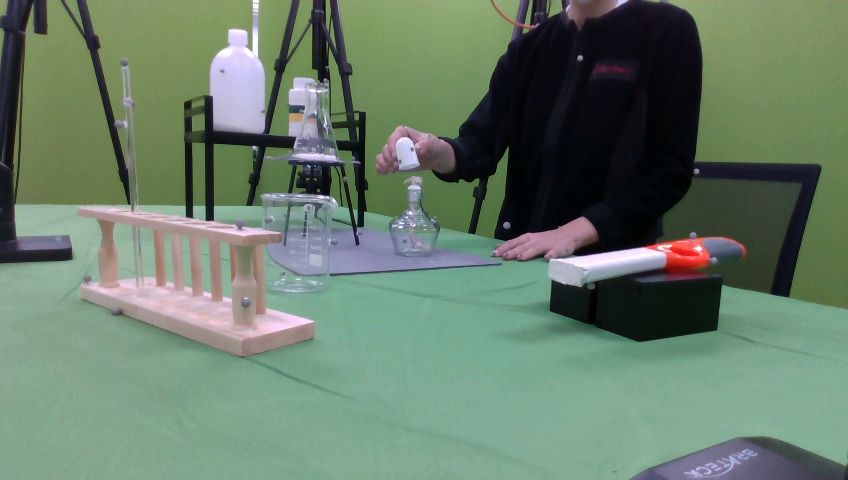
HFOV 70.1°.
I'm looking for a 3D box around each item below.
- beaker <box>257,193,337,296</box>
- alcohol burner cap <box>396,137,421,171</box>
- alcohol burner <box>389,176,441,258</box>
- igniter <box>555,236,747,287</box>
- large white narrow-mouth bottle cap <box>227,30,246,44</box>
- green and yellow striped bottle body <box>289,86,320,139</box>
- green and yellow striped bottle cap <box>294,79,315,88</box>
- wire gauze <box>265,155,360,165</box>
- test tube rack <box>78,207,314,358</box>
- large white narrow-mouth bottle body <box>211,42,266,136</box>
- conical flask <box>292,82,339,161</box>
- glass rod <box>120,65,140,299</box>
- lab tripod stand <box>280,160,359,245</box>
[{"bbox_3d":[-0.130,0.004,0.628,0.084,0.100,0.074,5,8,15],"label":"beaker"},{"bbox_3d":[-0.026,-0.127,0.881,0.034,0.048,0.034,-13,-5,-1],"label":"alcohol burner cap"},{"bbox_3d":[-0.013,-0.034,0.891,0.078,0.119,0.078,0,6,0],"label":"alcohol burner"},{"bbox_3d":[0.221,0.017,0.558,0.278,0.025,0.057,-5,15,-39],"label":"igniter"},{"bbox_3d":[-0.361,-0.389,1.165,0.038,0.024,0.037,1,7,0],"label":"large white narrow-mouth bottle cap"},{"bbox_3d":[-0.250,-0.272,1.261,0.063,0.119,0.063,3,7,0],"label":"green and yellow striped bottle body"},{"bbox_3d":[-0.248,-0.323,1.256,0.045,0.020,0.045,3,9,0],"label":"green and yellow striped bottle cap"},{"bbox_3d":[-0.181,-0.128,0.969,0.126,0.011,0.121,-3,7,-26],"label":"wire gauze"},{"bbox_3d":[-0.196,0.024,0.500,0.241,0.085,0.067,8,8,37],"label":"test tube rack"},{"bbox_3d":[-0.361,-0.302,1.176,0.102,0.194,0.102,1,7,0],"label":"large white narrow-mouth bottle body"},{"bbox_3d":[-0.171,-0.185,0.957,0.075,0.122,0.075,2,7,0],"label":"conical flask"},{"bbox_3d":[-0.249,-0.047,0.513,0.008,0.199,0.008,-1,4,0],"label":"glass rod"},{"bbox_3d":[-0.176,-0.062,0.973,0.148,0.131,0.148,1,7,0],"label":"lab tripod stand"}]
